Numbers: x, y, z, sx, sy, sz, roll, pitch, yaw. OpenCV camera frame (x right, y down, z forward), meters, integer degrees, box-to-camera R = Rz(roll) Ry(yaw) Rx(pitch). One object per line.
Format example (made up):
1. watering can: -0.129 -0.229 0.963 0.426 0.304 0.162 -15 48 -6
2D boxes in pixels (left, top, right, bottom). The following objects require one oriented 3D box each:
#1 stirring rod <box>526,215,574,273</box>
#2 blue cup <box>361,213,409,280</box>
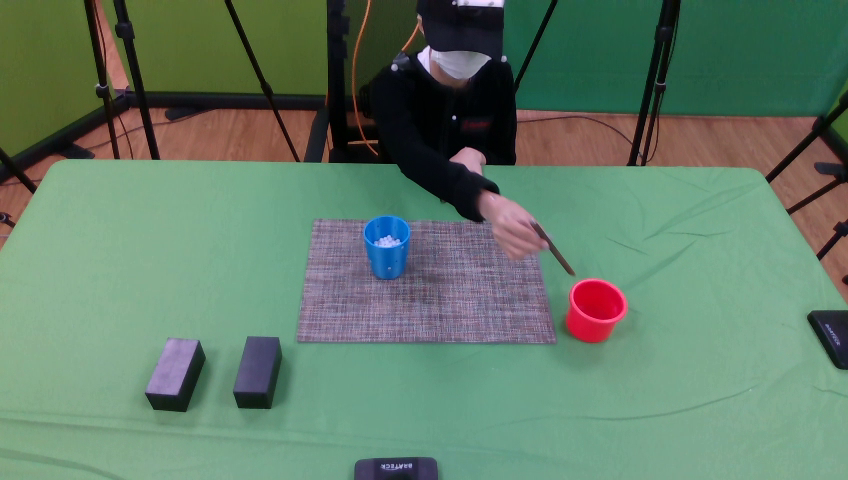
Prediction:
1. stirring rod: 0.205 0.010 0.976 0.014 0.177 0.006 13 67 43
2. blue cup: -0.070 0.020 1.114 0.093 0.101 0.092 1 46 -1
